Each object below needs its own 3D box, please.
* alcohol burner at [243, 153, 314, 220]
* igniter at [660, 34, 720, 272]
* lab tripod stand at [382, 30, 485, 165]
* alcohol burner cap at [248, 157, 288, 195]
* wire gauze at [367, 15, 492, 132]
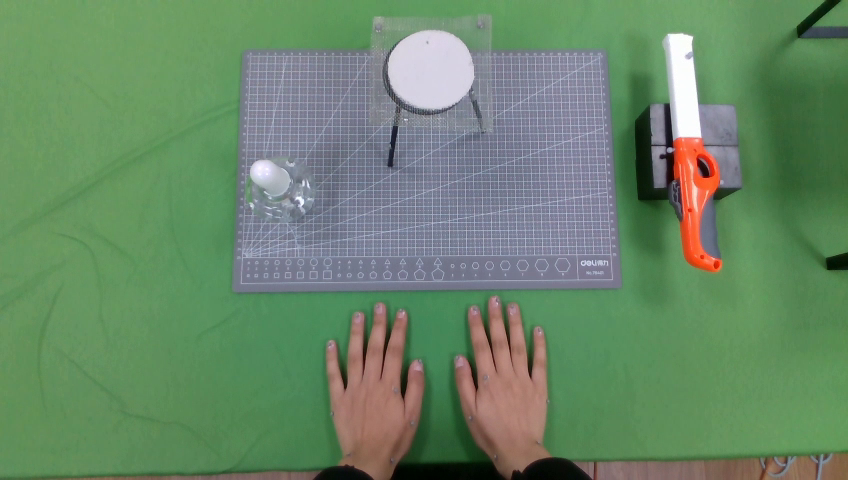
[{"bbox_3d":[-0.162,-0.062,0.659,0.078,0.119,0.077,0,81,0],"label":"alcohol burner"},{"bbox_3d":[0.294,-0.101,0.676,0.057,0.025,0.275,0,77,-4],"label":"igniter"},{"bbox_3d":[-0.001,-0.161,0.670,0.148,0.132,0.148,0,79,1],"label":"lab tripod stand"},{"bbox_3d":[-0.163,-0.068,0.623,0.034,0.048,0.033,-1,78,7],"label":"alcohol burner cap"},{"bbox_3d":[0.006,-0.169,0.603,0.125,0.011,0.121,2,80,0],"label":"wire gauze"}]
